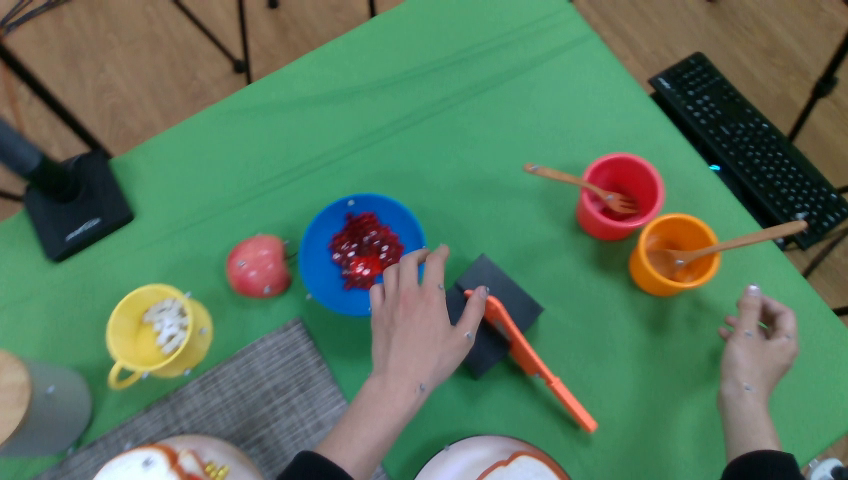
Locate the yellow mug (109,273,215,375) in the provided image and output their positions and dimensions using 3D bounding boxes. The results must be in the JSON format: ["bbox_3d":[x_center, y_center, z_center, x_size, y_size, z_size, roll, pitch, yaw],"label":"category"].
[{"bbox_3d":[-0.323,0.108,0.727,0.099,0.064,0.130,34,78,11],"label":"yellow mug"}]

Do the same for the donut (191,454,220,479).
[{"bbox_3d":[-0.267,0.279,0.652,0.099,0.048,0.098,0,72,1],"label":"donut"}]

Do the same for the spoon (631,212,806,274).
[{"bbox_3d":[0.331,0.002,0.697,0.022,0.193,0.041,11,67,-41],"label":"spoon"}]

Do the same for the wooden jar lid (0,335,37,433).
[{"bbox_3d":[-0.448,0.151,0.619,0.108,0.021,0.107,0,70,1],"label":"wooden jar lid"}]

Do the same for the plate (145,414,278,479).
[{"bbox_3d":[-0.259,0.302,0.675,0.207,0.039,0.206,0,73,2],"label":"plate"}]

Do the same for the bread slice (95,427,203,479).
[{"bbox_3d":[-0.268,0.254,0.596,0.105,0.019,0.131,-25,84,3],"label":"bread slice"}]

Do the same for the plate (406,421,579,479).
[{"bbox_3d":[0.076,0.307,0.667,0.209,0.038,0.208,-1,73,2],"label":"plate"}]

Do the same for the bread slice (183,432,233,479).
[{"bbox_3d":[-0.256,0.297,0.676,0.134,0.018,0.107,39,78,10],"label":"bread slice"}]

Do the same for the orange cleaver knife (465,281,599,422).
[{"bbox_3d":[0.122,0.126,0.698,0.012,0.077,0.212,-42,97,-19],"label":"orange cleaver knife"}]

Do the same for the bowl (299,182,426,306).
[{"bbox_3d":[-0.070,0.014,0.742,0.151,0.077,0.150,0,73,2],"label":"bowl"}]

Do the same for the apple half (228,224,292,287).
[{"bbox_3d":[-0.209,0.016,0.759,0.074,0.053,0.080,-10,73,1],"label":"apple half"}]

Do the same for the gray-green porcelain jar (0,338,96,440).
[{"bbox_3d":[-0.445,0.170,0.680,0.106,0.127,0.105,0,72,2],"label":"gray-green porcelain jar"}]

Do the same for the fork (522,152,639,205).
[{"bbox_3d":[0.192,-0.073,0.725,0.209,0.018,0.028,14,66,-38],"label":"fork"}]
